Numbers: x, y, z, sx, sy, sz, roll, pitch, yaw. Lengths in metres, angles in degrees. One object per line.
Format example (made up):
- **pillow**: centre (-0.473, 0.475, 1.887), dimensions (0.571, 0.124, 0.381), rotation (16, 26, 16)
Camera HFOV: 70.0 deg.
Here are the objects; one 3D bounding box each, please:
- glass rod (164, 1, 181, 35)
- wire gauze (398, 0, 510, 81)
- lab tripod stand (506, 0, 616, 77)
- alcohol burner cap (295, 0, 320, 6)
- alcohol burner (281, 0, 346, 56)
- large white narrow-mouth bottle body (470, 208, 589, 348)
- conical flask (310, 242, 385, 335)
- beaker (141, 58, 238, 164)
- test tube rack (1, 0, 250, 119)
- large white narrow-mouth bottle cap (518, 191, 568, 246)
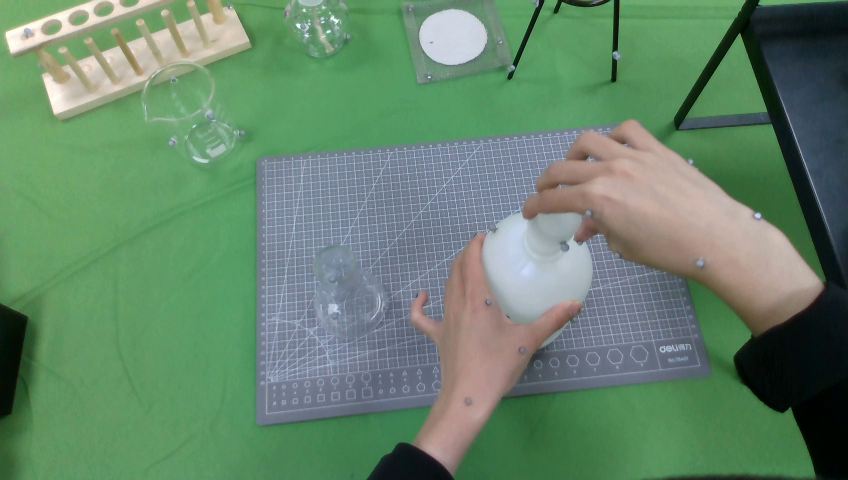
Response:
- **glass rod**: centre (-0.297, -0.299, 0.666), dimensions (0.008, 0.201, 0.008), rotation (2, 65, -4)
- **wire gauze**: centre (0.037, -0.261, 0.764), dimensions (0.121, 0.011, 0.124), rotation (-10, 68, -5)
- **lab tripod stand**: centre (0.167, -0.259, 0.696), dimensions (0.148, 0.132, 0.147), rotation (1, 66, -1)
- **alcohol burner cap**: centre (-0.133, -0.292, 0.681), dimensions (0.034, 0.048, 0.033), rotation (4, 66, -8)
- **alcohol burner**: centre (-0.132, -0.276, 0.714), dimensions (0.078, 0.120, 0.077), rotation (0, 65, 0)
- **large white narrow-mouth bottle body**: centre (0.094, 0.028, 0.543), dimensions (0.102, 0.196, 0.101), rotation (-1, 67, 2)
- **conical flask**: centre (-0.079, 0.041, 0.575), dimensions (0.075, 0.123, 0.075), rotation (0, 67, 1)
- **beaker**: centre (-0.253, -0.133, 0.662), dimensions (0.073, 0.101, 0.084), rotation (39, 73, 15)
- **test tube rack**: centre (-0.341, -0.236, 0.712), dimensions (0.242, 0.086, 0.066), rotation (-25, 69, -10)
- **large white narrow-mouth bottle cap**: centre (0.087, -0.015, 0.446), dimensions (0.038, 0.024, 0.037), rotation (-1, 67, 2)
